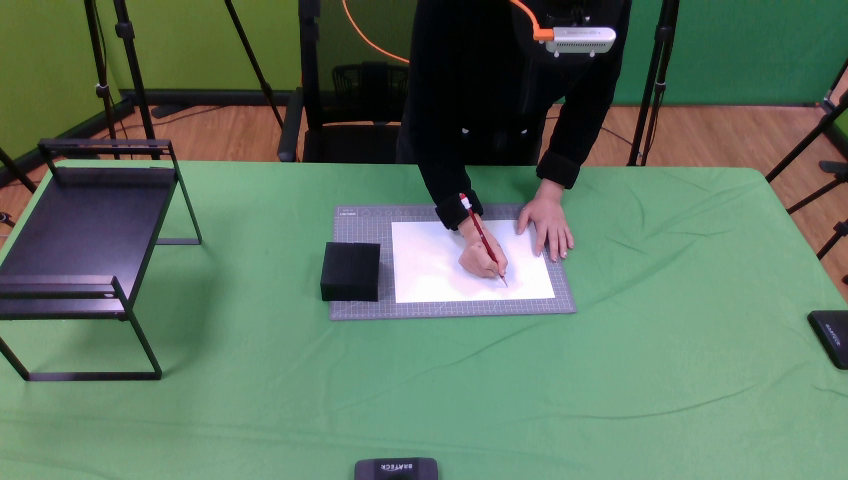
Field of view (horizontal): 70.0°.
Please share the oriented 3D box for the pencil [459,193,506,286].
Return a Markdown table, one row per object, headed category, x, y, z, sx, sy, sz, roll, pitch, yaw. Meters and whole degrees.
| category | x | y | z | sx | sy | sz | roll | pitch | yaw |
| --- | --- | --- | --- | --- | --- | --- | --- | --- | --- |
| pencil | 0.111 | 0.000 | 1.123 | 0.012 | 0.012 | 0.194 | -29 | 97 | -28 |
